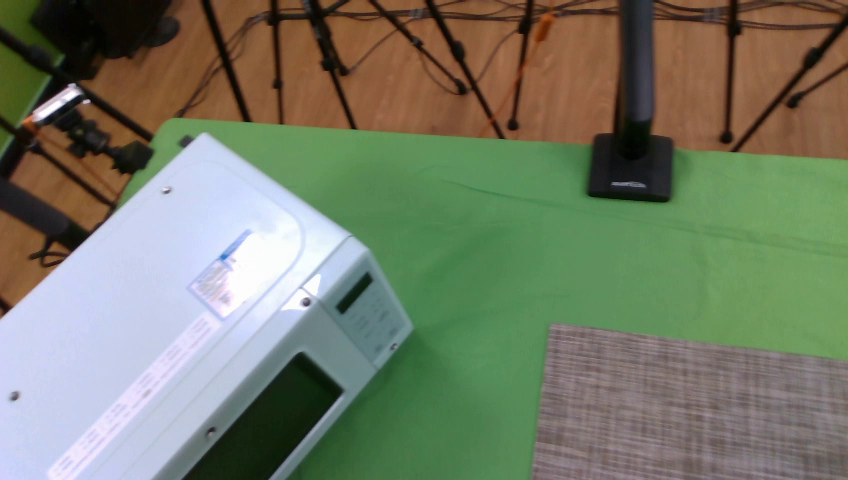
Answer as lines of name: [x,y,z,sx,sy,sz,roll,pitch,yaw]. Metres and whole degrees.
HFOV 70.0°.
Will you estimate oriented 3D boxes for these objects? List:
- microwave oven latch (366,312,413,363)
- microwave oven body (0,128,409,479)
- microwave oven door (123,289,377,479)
microwave oven latch: [-0.049,0.129,0.831,0.030,0.030,0.079,36,75,26]
microwave oven body: [-0.292,0.137,0.767,0.323,0.263,0.441,34,74,26]
microwave oven door: [-0.212,0.237,0.688,0.039,0.246,0.355,34,73,27]
